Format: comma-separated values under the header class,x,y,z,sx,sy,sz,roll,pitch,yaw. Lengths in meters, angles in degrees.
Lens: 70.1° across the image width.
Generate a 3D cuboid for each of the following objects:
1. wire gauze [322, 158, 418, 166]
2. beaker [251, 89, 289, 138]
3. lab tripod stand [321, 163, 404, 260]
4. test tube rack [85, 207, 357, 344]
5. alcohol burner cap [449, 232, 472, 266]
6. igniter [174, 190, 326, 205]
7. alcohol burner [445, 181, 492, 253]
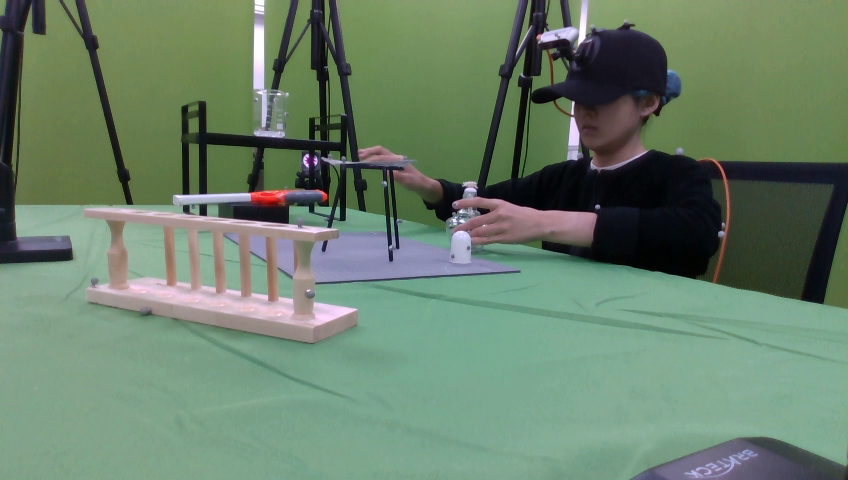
class,x,y,z,sx,sy,sz,roll,pitch,yaw
wire gauze,-0.081,-0.112,0.877,0.122,0.011,0.124,0,6,-18
beaker,-0.334,-0.273,1.316,0.084,0.100,0.074,6,8,15
lab tripod stand,-0.075,-0.045,0.884,0.148,0.131,0.148,2,5,0
test tube rack,-0.177,0.022,0.518,0.241,0.085,0.067,6,7,23
alcohol burner cap,0.052,0.012,0.843,0.034,0.048,0.034,2,6,0
igniter,-0.317,-0.079,1.132,0.278,0.025,0.057,-4,11,-32
alcohol burner,0.075,-0.039,1.000,0.078,0.119,0.078,4,8,0
